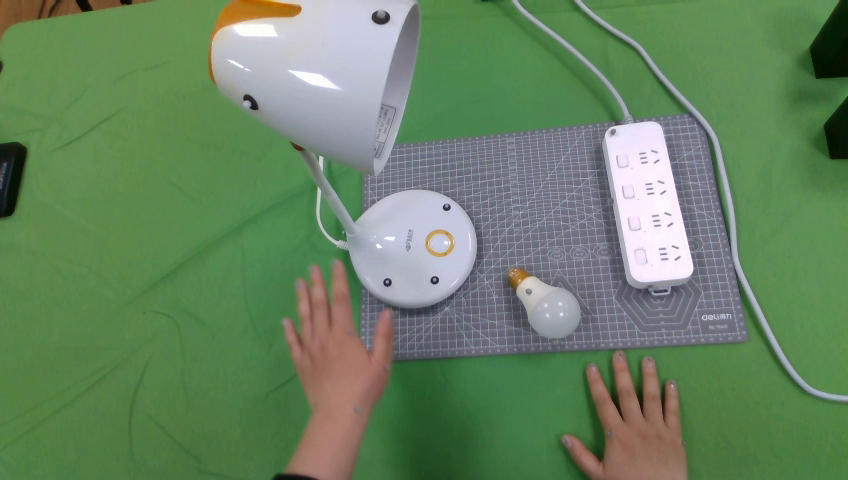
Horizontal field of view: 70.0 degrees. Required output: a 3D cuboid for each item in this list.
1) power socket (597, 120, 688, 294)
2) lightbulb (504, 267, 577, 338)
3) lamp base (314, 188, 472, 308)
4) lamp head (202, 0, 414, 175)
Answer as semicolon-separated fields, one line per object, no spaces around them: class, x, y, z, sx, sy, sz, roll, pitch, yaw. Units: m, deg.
power socket;0.264;-0.047;0.739;0.072;0.033;0.225;-6;69;6
lightbulb;0.131;0.068;0.709;0.059;0.060;0.106;-40;54;-6
lamp base;-0.043;-0.017;0.697;0.179;0.182;0.159;-8;69;9
lamp head;-0.075;-0.108;0.393;0.123;0.113;0.112;13;72;6
